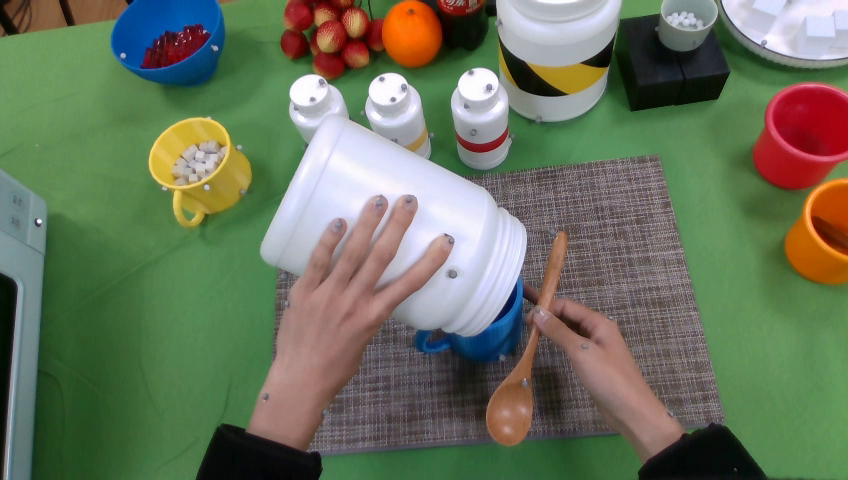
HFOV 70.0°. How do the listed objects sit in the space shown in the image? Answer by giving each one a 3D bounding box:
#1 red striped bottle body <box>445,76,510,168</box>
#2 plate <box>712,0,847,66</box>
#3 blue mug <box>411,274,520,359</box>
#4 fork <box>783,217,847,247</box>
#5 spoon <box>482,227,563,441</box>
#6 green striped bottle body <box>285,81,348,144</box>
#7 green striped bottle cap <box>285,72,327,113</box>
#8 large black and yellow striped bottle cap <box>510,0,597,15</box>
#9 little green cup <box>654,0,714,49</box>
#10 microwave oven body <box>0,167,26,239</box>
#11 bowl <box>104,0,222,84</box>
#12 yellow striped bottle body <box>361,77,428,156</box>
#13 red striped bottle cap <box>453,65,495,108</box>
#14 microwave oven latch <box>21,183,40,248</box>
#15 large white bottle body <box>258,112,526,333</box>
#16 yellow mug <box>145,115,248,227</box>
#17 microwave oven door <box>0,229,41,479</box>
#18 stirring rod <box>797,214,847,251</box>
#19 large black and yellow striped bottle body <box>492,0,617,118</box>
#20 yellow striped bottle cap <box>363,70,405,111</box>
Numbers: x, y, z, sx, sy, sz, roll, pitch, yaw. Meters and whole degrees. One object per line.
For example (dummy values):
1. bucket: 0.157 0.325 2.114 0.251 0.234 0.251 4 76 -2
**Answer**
1. red striped bottle body: 0.061 -0.138 0.682 0.063 0.121 0.062 -6 62 12
2. plate: 0.459 -0.293 0.742 0.209 0.038 0.207 -3 66 7
3. blue mug: 0.038 0.073 0.593 0.116 0.107 0.081 -32 64 -7
4. fork: 0.427 0.005 0.549 0.028 0.019 0.205 -42 23 -11
5. spoon: 0.094 0.082 0.534 0.041 0.021 0.194 17 93 1
6. green striped bottle body: -0.120 -0.139 0.707 0.063 0.120 0.062 -3 65 6
7. green striped bottle cap: -0.129 -0.161 0.660 0.044 0.020 0.044 -2 64 5
8. large black and yellow striped bottle cap: 0.132 -0.274 0.602 0.115 0.019 0.114 -4 67 9
9. little green cup: 0.292 -0.250 0.689 0.061 0.039 0.061 -2 63 4
10. microwave oven body: -0.602 0.124 0.572 0.326 0.262 0.437 -14 65 1
11. bowl: -0.335 -0.265 0.817 0.151 0.077 0.150 -3 65 6
12. yellow striped bottle body: -0.034 -0.139 0.694 0.063 0.121 0.062 -3 65 7
13. red striped bottle cap: 0.052 -0.161 0.635 0.044 0.018 0.044 -1 64 3
14. microwave oven latch: -0.485 -0.028 0.731 0.030 0.030 0.078 -13 65 2
15. large white bottle body: -0.024 -0.007 0.490 0.185 0.130 0.130 25 68 -13
16. yellow mug: -0.277 -0.078 0.731 0.100 0.064 0.130 3 67 9
17. microwave oven door: -0.452 0.123 0.547 0.039 0.246 0.352 -15 64 2
18. stirring rod: 0.397 0.007 0.560 0.014 0.006 0.175 -4 22 4
19. large black and yellow striped bottle body: 0.143 -0.240 0.681 0.130 0.185 0.129 -3 65 7
20. yellow striped bottle cap: -0.042 -0.160 0.647 0.044 0.019 0.044 -1 62 3
